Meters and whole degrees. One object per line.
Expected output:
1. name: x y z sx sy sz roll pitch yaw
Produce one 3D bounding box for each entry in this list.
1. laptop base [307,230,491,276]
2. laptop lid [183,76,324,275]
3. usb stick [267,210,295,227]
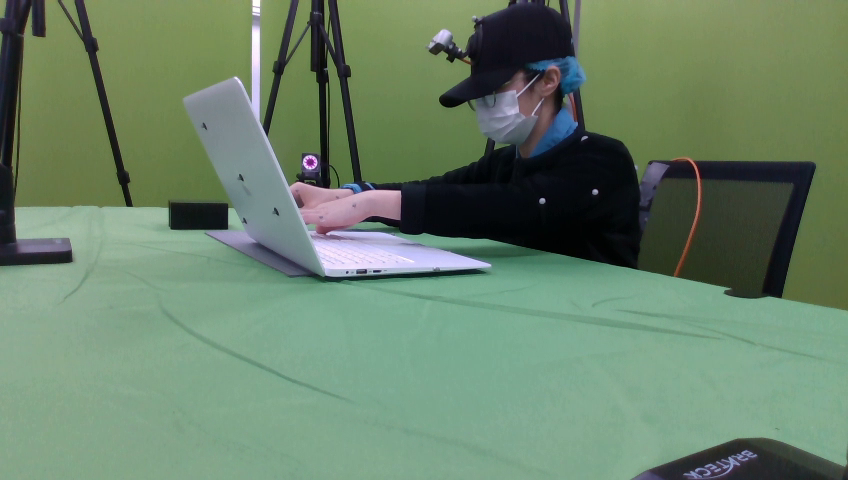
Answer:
1. laptop base: -0.094 0.016 0.888 0.237 0.023 0.352 2 7 -30
2. laptop lid: -0.237 -0.085 0.791 0.013 0.242 0.355 -29 22 -23
3. usb stick: -0.255 -0.038 1.073 0.021 0.027 0.059 11 14 23
